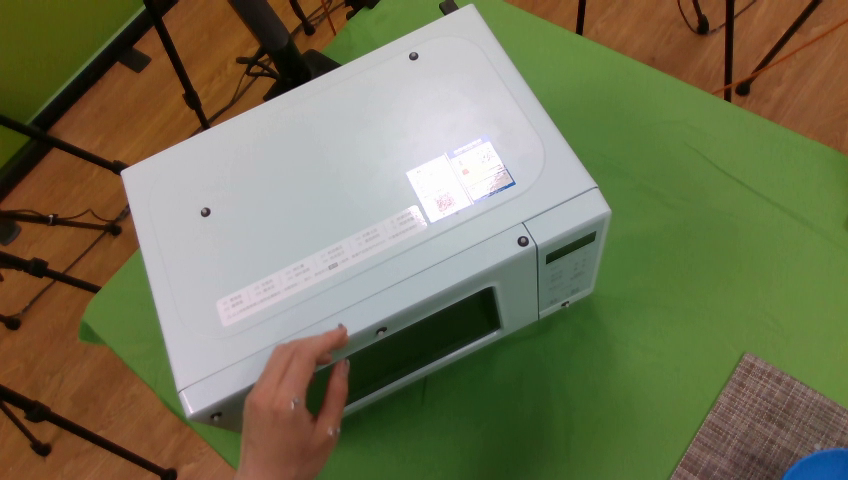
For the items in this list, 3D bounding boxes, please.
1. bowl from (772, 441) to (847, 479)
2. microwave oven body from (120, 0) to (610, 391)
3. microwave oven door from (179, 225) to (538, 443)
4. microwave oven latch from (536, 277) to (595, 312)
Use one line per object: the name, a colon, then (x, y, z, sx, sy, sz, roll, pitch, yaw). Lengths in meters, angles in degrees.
bowl: (0.416, 0.284, 0.608, 0.151, 0.077, 0.150, -4, 66, 9)
microwave oven body: (-0.063, -0.019, 0.727, 0.442, 0.262, 0.323, -27, 65, -1)
microwave oven door: (-0.043, 0.115, 0.660, 0.356, 0.246, 0.039, -27, 64, -2)
microwave oven latch: (0.173, 0.060, 0.756, 0.079, 0.030, 0.030, -25, 65, 0)
